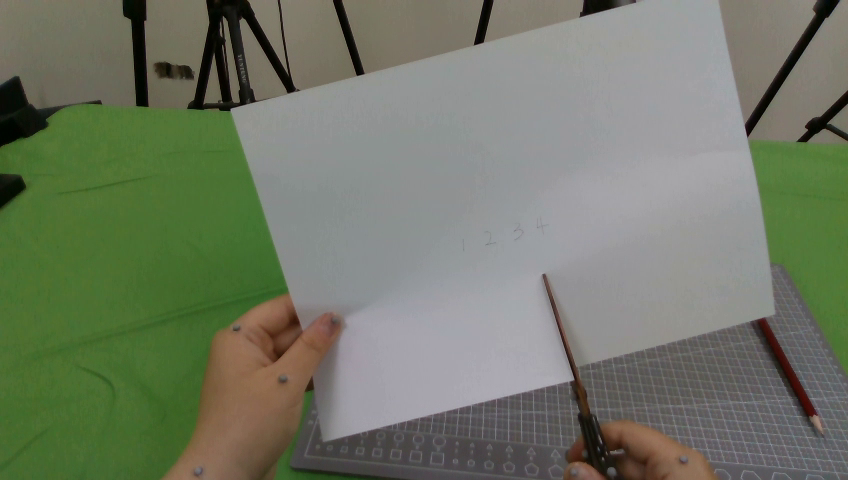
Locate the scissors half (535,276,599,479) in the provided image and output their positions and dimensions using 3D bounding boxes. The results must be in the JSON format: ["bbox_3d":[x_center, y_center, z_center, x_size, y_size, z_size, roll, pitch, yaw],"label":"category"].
[{"bbox_3d":[0.095,0.106,0.373,0.013,0.175,0.040,-16,-3,-8],"label":"scissors half"}]

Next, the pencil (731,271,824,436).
[{"bbox_3d":[0.313,0.093,0.543,0.012,0.012,0.192,2,38,2],"label":"pencil"}]

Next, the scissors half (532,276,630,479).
[{"bbox_3d":[0.095,0.101,0.353,0.013,0.040,0.174,-18,69,-3],"label":"scissors half"}]
